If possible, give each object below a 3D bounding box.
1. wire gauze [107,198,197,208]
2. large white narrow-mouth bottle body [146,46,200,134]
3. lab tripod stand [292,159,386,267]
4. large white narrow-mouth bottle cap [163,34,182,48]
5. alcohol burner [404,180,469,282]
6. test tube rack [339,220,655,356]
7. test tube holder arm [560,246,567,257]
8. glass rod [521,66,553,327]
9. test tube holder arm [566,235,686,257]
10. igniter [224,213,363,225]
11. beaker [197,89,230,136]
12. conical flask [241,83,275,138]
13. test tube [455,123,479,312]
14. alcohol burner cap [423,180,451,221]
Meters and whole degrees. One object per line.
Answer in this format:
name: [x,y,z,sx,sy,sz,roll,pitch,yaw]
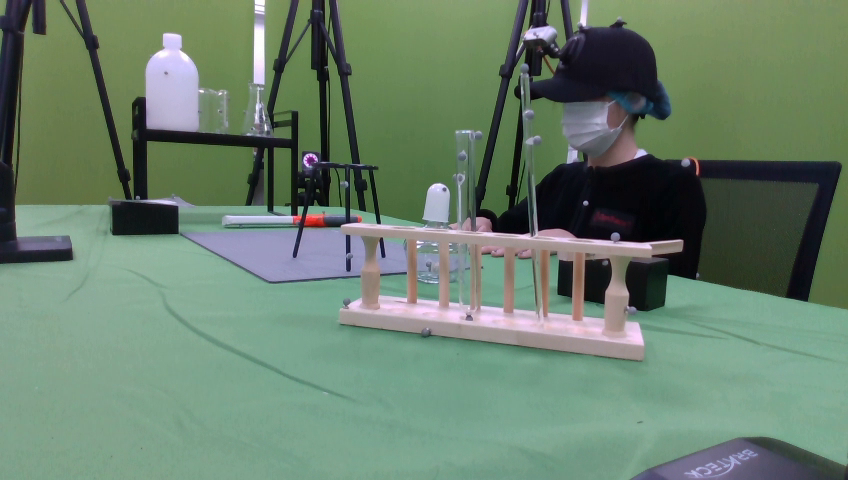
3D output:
wire gauze: [-0.462,-0.064,1.023,0.126,0.011,0.121,-2,7,-32]
large white narrow-mouth bottle body: [-0.515,-0.319,1.243,0.102,0.194,0.102,2,7,0]
lab tripod stand: [-0.104,-0.039,0.798,0.148,0.131,0.148,2,5,0]
large white narrow-mouth bottle cap: [-0.513,-0.404,1.233,0.038,0.024,0.037,2,7,0]
alcohol burner: [0.015,-0.011,0.715,0.078,0.119,0.078,0,7,0]
test tube rack: [0.056,0.032,0.495,0.242,0.085,0.067,4,7,15]
test tube holder arm: [0.173,0.008,0.612,0.088,0.015,0.010,-3,8,-30]
glass rod: [0.085,-0.028,0.454,0.008,0.199,0.008,-7,10,2]
test tube holder arm: [0.215,0.006,0.630,0.179,0.015,0.013,-3,8,-31]
igniter: [-0.255,-0.041,1.210,0.278,0.025,0.057,-2,-2,-31]
beaker: [-0.472,-0.283,1.353,0.074,0.100,0.083,-4,10,-35]
conical flask: [-0.383,-0.297,1.392,0.075,0.122,0.075,2,7,0]
test tube: [0.034,-0.016,0.476,0.017,0.150,0.017,-2,10,1]
alcohol burner cap: [0.017,-0.046,0.711,0.034,0.048,0.034,8,5,0]
